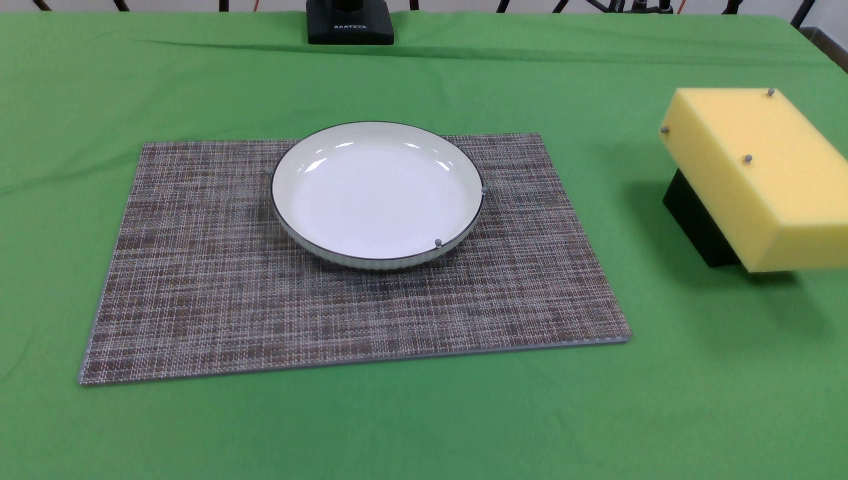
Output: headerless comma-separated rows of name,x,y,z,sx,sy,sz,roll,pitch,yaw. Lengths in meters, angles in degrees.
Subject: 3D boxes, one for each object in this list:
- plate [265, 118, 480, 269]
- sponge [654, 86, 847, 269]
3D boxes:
plate,-0.050,-0.046,0.602,0.208,0.039,0.205,4,46,-4
sponge,0.327,-0.069,0.589,0.118,0.061,0.204,-3,47,-9
